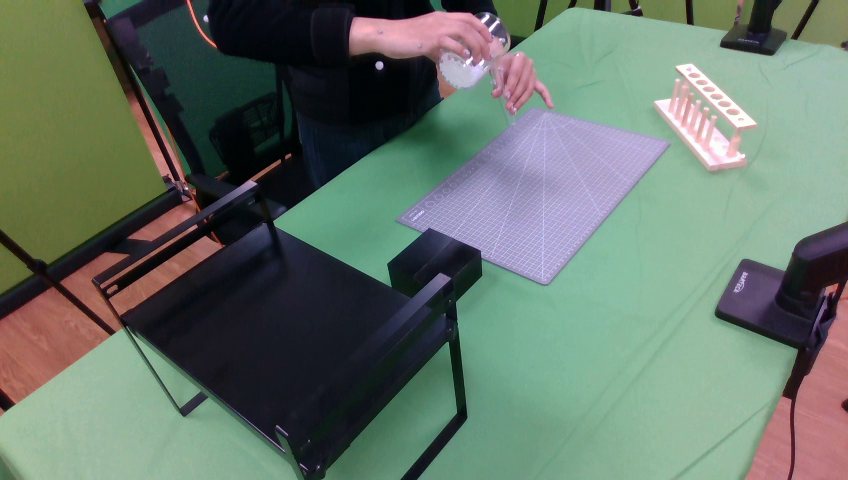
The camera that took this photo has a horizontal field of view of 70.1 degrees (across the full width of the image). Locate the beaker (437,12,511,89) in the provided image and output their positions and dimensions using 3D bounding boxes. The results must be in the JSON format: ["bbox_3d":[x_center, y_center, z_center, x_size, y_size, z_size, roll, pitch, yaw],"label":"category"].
[{"bbox_3d":[0.073,-0.278,0.902,0.073,0.084,0.100,24,58,29],"label":"beaker"}]

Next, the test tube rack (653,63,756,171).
[{"bbox_3d":[0.510,-0.233,1.120,0.067,0.085,0.241,-9,41,-1],"label":"test tube rack"}]

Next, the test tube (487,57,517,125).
[{"bbox_3d":[0.132,-0.244,1.009,0.017,0.151,0.017,-11,54,16],"label":"test tube"}]
